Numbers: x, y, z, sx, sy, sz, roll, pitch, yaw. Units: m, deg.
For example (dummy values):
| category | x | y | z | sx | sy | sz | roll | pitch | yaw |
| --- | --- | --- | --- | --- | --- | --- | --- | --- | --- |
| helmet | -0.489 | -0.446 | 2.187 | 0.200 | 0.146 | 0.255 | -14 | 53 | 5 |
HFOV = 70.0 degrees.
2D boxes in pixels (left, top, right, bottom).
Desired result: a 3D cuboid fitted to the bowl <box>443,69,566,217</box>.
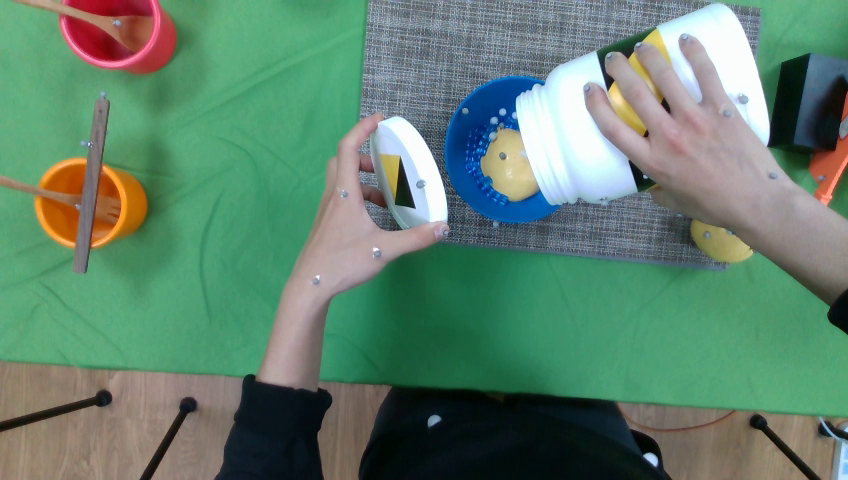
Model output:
| category | x | y | z | sx | sy | sz | roll | pitch | yaw |
| --- | --- | --- | --- | --- | --- | --- | --- | --- | --- |
| bowl | 0.092 | -0.101 | 0.656 | 0.151 | 0.076 | 0.151 | 0 | 95 | -3 |

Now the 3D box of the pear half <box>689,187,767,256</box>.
| category | x | y | z | sx | sy | sz | roll | pitch | yaw |
| --- | --- | --- | --- | --- | --- | --- | --- | --- | --- |
| pear half | 0.330 | -0.018 | 0.663 | 0.056 | 0.109 | 0.076 | -14 | 92 | -1 |

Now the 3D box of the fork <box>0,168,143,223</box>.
| category | x | y | z | sx | sy | sz | roll | pitch | yaw |
| --- | --- | --- | --- | --- | --- | --- | --- | --- | --- |
| fork | -0.382 | -0.056 | 0.598 | 0.209 | 0.018 | 0.028 | 22 | 104 | -49 |

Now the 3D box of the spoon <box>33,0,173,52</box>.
| category | x | y | z | sx | sy | sz | roll | pitch | yaw |
| --- | --- | --- | --- | --- | --- | --- | --- | --- | --- |
| spoon | -0.344 | -0.228 | 0.589 | 0.195 | 0.021 | 0.041 | 7 | 98 | -47 |

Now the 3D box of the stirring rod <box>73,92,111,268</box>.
| category | x | y | z | sx | sy | sz | roll | pitch | yaw |
| --- | --- | --- | --- | --- | --- | --- | --- | --- | --- |
| stirring rod | -0.329 | -0.058 | 0.600 | 0.014 | 0.006 | 0.176 | 10 | 95 | -7 |

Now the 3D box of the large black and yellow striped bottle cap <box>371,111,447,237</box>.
| category | x | y | z | sx | sy | sz | roll | pitch | yaw |
| --- | --- | --- | --- | --- | --- | --- | --- | --- | --- |
| large black and yellow striped bottle cap | -0.016 | -0.058 | 0.545 | 0.019 | 0.114 | 0.115 | -22 | 96 | -20 |

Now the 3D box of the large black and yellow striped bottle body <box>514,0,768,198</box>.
| category | x | y | z | sx | sy | sz | roll | pitch | yaw |
| --- | --- | --- | --- | --- | --- | --- | --- | --- | --- |
| large black and yellow striped bottle body | 0.183 | -0.114 | 0.532 | 0.183 | 0.131 | 0.131 | -17 | 96 | 21 |

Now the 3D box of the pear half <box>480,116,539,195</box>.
| category | x | y | z | sx | sy | sz | roll | pitch | yaw |
| --- | --- | --- | --- | --- | --- | --- | --- | --- | --- |
| pear half | 0.096 | -0.093 | 0.651 | 0.070 | 0.031 | 0.088 | -21 | 93 | -5 |

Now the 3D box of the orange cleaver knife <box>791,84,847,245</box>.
| category | x | y | z | sx | sy | sz | roll | pitch | yaw |
| --- | --- | --- | --- | --- | --- | --- | --- | --- | --- |
| orange cleaver knife | 0.458 | -0.094 | 0.681 | 0.012 | 0.076 | 0.213 | 8 | 123 | 1 |
